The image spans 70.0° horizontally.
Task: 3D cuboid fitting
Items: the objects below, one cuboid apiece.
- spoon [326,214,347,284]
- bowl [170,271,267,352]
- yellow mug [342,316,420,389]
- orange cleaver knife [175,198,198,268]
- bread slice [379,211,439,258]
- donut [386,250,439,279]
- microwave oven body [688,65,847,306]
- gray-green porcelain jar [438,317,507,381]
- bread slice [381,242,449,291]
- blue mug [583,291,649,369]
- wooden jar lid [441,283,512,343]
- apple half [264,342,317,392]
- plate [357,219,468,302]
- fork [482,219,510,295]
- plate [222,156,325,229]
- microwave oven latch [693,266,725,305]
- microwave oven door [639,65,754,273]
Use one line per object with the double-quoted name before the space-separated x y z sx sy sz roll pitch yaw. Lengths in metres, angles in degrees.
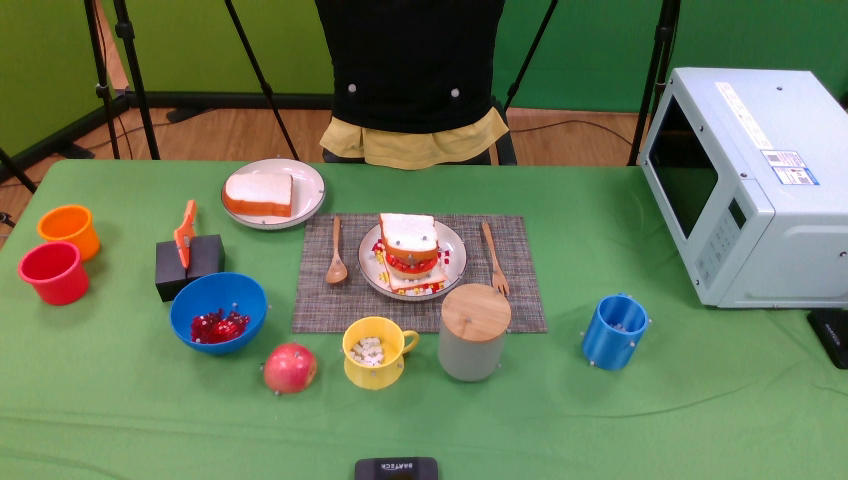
"spoon" -0.167 0.013 1.164 0.041 0.022 0.192 -19 47 11
"bowl" -0.333 0.132 1.006 0.151 0.077 0.150 2 46 -2
"yellow mug" -0.067 0.178 0.990 0.131 0.064 0.099 -16 50 -19
"orange cleaver knife" -0.438 -0.017 1.138 0.012 0.077 0.210 -13 27 -7
"bread slice" -0.023 -0.012 1.064 0.105 0.019 0.130 3 33 -10
"donut" -0.021 0.028 1.110 0.099 0.048 0.098 2 45 -2
"microwave oven body" 0.669 -0.111 1.176 0.326 0.261 0.439 0 46 -3
"gray-green porcelain jar" 0.076 0.158 0.977 0.106 0.127 0.105 2 47 -2
"bread slice" -0.026 0.039 1.139 0.107 0.018 0.133 -12 47 -16
"blue mug" 0.324 0.142 1.023 0.082 0.106 0.116 15 47 11
"wooden jar lid" 0.080 0.114 0.931 0.108 0.021 0.107 1 49 -1
"apple half" -0.214 0.198 0.970 0.074 0.053 0.080 19 48 11
"plate" -0.021 0.037 1.141 0.208 0.039 0.206 2 46 -2
"fork" 0.136 0.029 1.172 0.028 0.019 0.206 -10 48 2
"plate" -0.308 -0.095 1.251 0.209 0.038 0.208 2 47 -2
"microwave oven latch" 0.523 0.082 1.116 0.030 0.029 0.078 3 46 0
"microwave oven door" 0.522 -0.147 1.193 0.039 0.245 0.353 0 47 -3
